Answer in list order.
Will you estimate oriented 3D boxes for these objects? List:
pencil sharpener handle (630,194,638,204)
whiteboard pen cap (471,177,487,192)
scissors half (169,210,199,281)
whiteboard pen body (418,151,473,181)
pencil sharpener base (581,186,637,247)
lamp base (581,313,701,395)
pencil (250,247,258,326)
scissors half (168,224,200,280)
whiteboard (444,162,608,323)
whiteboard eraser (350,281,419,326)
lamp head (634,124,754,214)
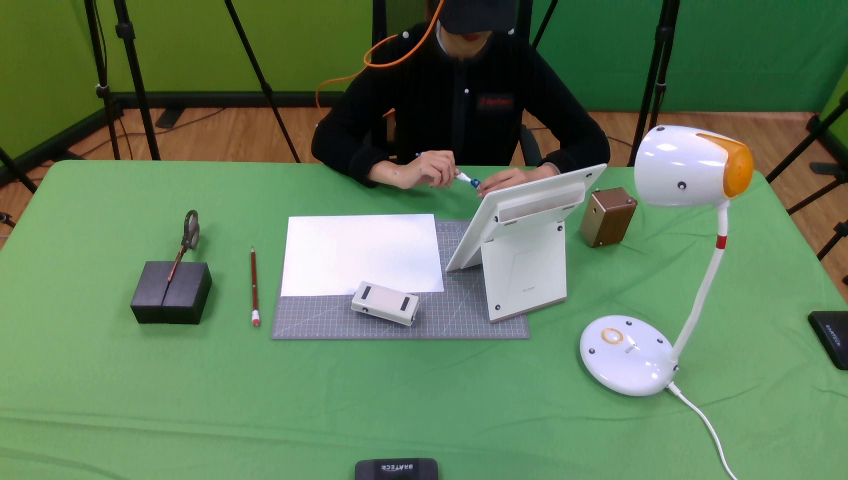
[{"bbox_3d":[0.417,-0.068,1.215,0.031,0.068,0.036,-11,60,-14],"label":"pencil sharpener handle"},{"bbox_3d":[0.112,-0.113,1.244,0.033,0.018,0.018,39,55,17],"label":"whiteboard pen cap"},{"bbox_3d":[-0.438,0.007,1.098,0.013,0.040,0.174,3,47,-3],"label":"scissors half"},{"bbox_3d":[0.047,-0.153,1.273,0.140,0.017,0.017,30,51,20],"label":"whiteboard pen body"},{"bbox_3d":[0.369,-0.047,1.209,0.077,0.107,0.061,-11,47,-14],"label":"pencil sharpener base"},{"bbox_3d":[0.361,0.144,0.973,0.178,0.181,0.160,34,53,23],"label":"lamp base"},{"bbox_3d":[-0.312,0.079,1.107,0.012,0.012,0.192,-7,46,-11],"label":"pencil"},{"bbox_3d":[-0.440,0.023,1.111,0.013,0.040,0.174,7,29,-6],"label":"scissors half"},{"bbox_3d":[0.186,0.025,1.029,0.217,0.306,0.143,-14,68,-17],"label":"whiteboard"},{"bbox_3d":[-0.069,0.113,1.065,0.112,0.042,0.055,14,46,9],"label":"whiteboard eraser"},{"bbox_3d":[0.351,-0.089,0.776,0.112,0.113,0.122,-30,30,-28],"label":"lamp head"}]
